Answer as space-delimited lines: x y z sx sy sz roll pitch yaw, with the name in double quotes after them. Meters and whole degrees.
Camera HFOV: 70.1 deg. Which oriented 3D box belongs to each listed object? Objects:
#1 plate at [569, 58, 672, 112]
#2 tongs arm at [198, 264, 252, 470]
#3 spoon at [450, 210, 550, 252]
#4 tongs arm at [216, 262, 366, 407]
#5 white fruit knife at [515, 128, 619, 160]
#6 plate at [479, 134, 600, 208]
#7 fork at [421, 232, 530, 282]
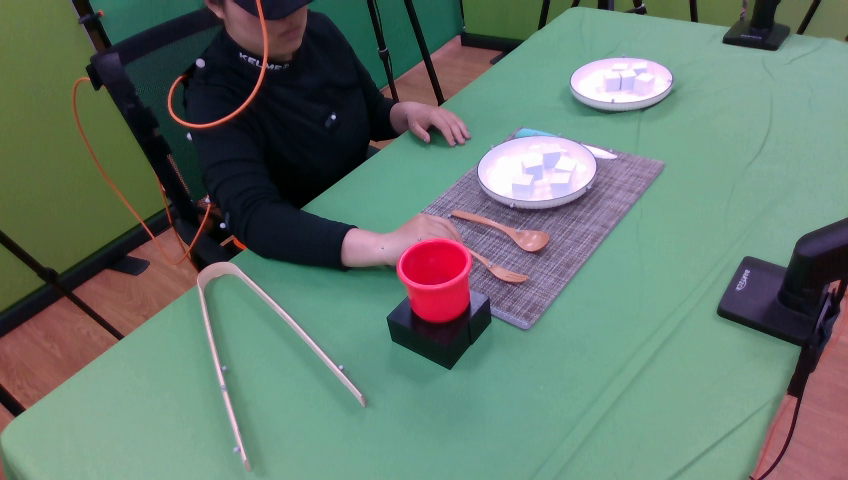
0.411 -0.323 1.274 0.209 0.038 0.208 -5 41 5 "plate"
-0.270 0.154 0.840 0.051 0.026 0.381 -23 41 -17 "tongs arm"
0.119 -0.022 0.979 0.192 0.022 0.041 24 68 33 "spoon"
-0.201 0.121 0.871 0.028 0.028 0.384 -36 46 -24 "tongs arm"
0.269 -0.182 1.148 0.206 0.016 0.027 21 77 29 "white fruit knife"
0.202 -0.117 1.065 0.207 0.039 0.206 -5 40 5 "plate"
0.073 0.025 0.934 0.205 0.018 0.028 28 36 34 "fork"
